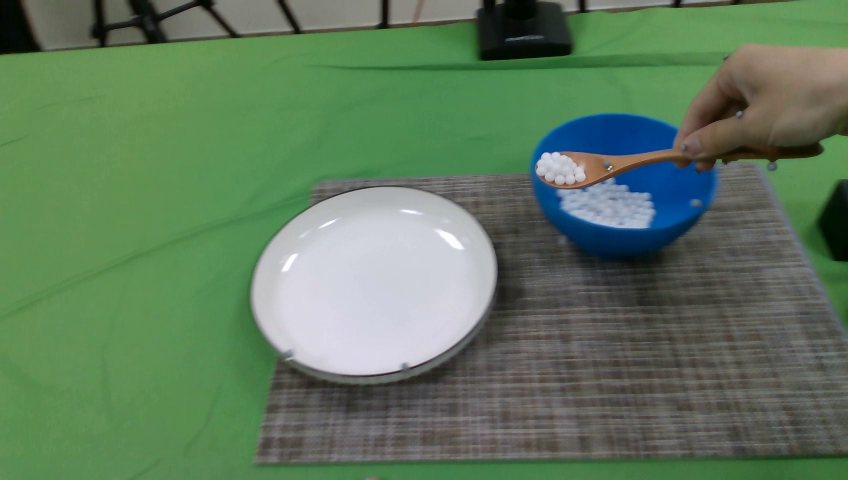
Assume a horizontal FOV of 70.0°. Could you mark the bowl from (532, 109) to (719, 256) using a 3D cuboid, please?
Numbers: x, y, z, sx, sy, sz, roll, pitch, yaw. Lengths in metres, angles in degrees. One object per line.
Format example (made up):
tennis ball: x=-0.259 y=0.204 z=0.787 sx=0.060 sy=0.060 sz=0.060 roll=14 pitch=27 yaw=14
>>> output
bowl: x=0.169 y=-0.039 z=0.534 sx=0.151 sy=0.077 sz=0.150 roll=-3 pitch=48 yaw=3

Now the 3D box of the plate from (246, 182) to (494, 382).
plate: x=-0.044 y=0.034 z=0.520 sx=0.207 sy=0.039 sz=0.205 roll=-3 pitch=48 yaw=4

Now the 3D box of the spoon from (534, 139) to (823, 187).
spoon: x=0.173 y=-0.059 z=0.437 sx=0.193 sy=0.022 sz=0.041 roll=-2 pitch=48 yaw=33
